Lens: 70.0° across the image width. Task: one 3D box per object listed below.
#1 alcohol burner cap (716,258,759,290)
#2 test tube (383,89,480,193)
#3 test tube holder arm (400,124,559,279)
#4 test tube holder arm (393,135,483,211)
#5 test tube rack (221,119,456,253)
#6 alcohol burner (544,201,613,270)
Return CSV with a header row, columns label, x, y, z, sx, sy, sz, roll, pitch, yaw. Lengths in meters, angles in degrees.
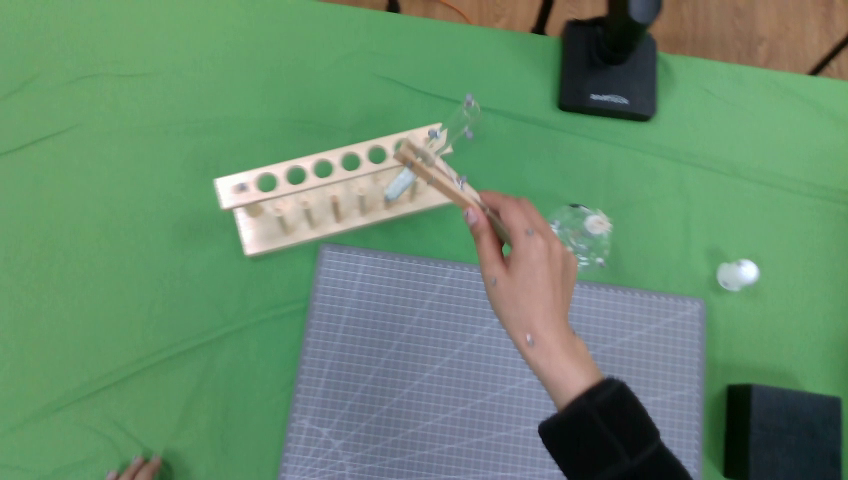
label,x,y,z,sx,sy,sz,roll,pitch,yaw
alcohol burner cap,0.364,0.038,0.699,0.034,0.048,0.033,1,76,-3
test tube,0.001,-0.073,0.484,0.017,0.150,0.017,11,65,-24
test tube holder arm,0.049,-0.029,0.506,0.179,0.015,0.013,42,57,-12
test tube holder arm,0.013,-0.053,0.493,0.088,0.015,0.010,35,58,-16
test tube rack,-0.085,-0.057,0.663,0.242,0.085,0.066,-15,78,-7
alcohol burner,0.173,-0.009,0.658,0.078,0.119,0.077,1,78,-5
